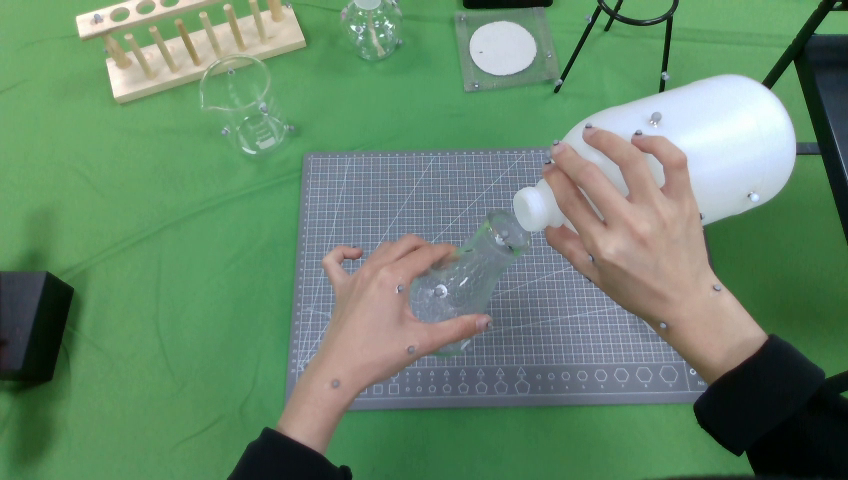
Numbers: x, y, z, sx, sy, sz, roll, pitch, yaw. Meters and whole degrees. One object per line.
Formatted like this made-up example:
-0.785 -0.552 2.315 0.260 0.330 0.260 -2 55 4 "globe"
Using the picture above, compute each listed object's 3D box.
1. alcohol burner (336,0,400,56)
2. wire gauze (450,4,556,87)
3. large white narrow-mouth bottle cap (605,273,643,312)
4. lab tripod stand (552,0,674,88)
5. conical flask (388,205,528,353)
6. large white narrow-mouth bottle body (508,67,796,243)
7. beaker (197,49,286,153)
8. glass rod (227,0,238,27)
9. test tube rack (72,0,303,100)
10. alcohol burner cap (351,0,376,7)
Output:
-0.069 -0.282 0.732 0.078 0.120 0.077 0 64 0 "alcohol burner"
0.100 -0.253 0.775 0.121 0.011 0.124 -5 66 -3 "wire gauze"
0.209 0.055 0.634 0.038 0.024 0.037 -1 66 3 "large white narrow-mouth bottle cap"
0.227 -0.242 0.701 0.148 0.132 0.147 1 66 -1 "lab tripod stand"
0.029 0.026 0.457 0.076 0.122 0.074 21 42 -20 "conical flask"
0.153 -0.052 0.434 0.195 0.102 0.101 -18 67 -12 "large white narrow-mouth bottle body"
-0.203 -0.150 0.683 0.084 0.101 0.073 -41 71 -15 "beaker"
-0.234 -0.318 0.691 0.008 0.201 0.008 2 64 -4 "glass rod"
-0.280 -0.258 0.738 0.242 0.086 0.066 -20 68 -8 "test tube rack"
-0.070 -0.298 0.699 0.034 0.048 0.033 3 65 -7 "alcohol burner cap"
